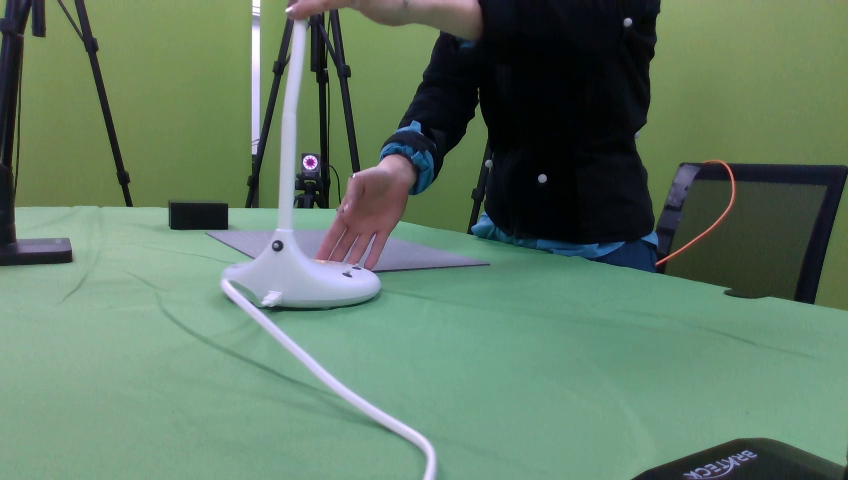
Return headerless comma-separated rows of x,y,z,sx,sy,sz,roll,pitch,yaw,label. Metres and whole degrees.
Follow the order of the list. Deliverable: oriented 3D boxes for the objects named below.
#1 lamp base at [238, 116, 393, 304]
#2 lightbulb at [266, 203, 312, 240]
-0.106,-0.034,0.619,0.161,0.180,0.178,0,10,-17,lamp base
-0.224,-0.026,1.031,0.059,0.059,0.108,8,25,37,lightbulb
